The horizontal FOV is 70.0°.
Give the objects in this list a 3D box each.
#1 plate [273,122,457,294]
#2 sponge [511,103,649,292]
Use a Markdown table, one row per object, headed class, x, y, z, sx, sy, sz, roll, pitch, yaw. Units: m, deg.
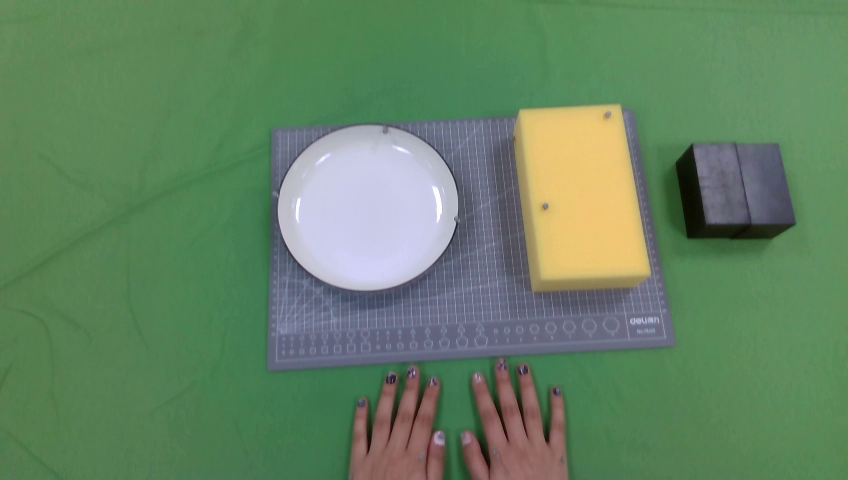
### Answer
| class | x | y | z | sx | sy | sz | roll | pitch | yaw |
| --- | --- | --- | --- | --- | --- | --- | --- | --- | --- |
| plate | -0.065 | -0.036 | 0.699 | 0.209 | 0.038 | 0.208 | 0 | 72 | 0 |
| sponge | 0.172 | -0.049 | 0.693 | 0.118 | 0.061 | 0.205 | -4 | 72 | -1 |
